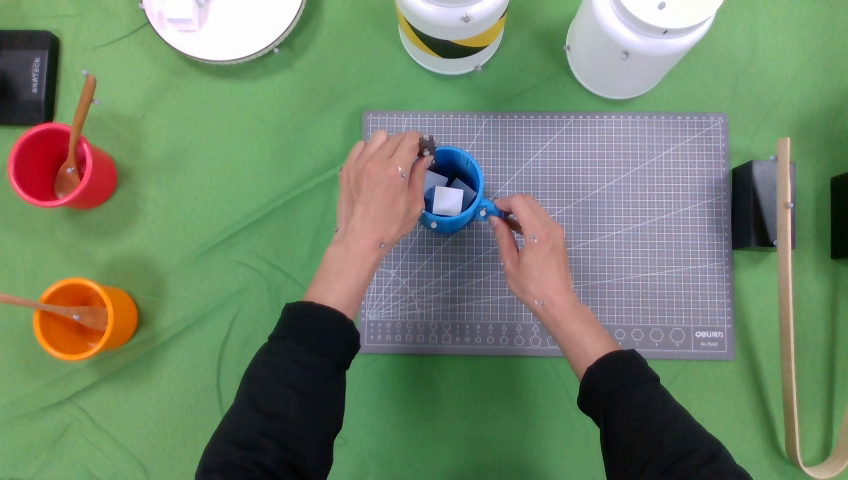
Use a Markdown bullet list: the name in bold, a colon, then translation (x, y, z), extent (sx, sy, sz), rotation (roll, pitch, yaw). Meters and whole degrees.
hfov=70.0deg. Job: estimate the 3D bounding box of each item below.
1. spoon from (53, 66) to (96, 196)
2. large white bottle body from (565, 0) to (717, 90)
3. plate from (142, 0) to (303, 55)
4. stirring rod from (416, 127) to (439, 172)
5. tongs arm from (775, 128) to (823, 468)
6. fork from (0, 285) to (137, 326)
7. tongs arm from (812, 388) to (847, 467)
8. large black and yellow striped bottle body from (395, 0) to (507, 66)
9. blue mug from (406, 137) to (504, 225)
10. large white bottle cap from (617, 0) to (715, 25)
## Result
- **spoon**: translation (-0.394, -0.118, 0.685), extent (0.041, 0.021, 0.194), rotation (47, 131, 7)
- **large white bottle body**: translation (0.236, -0.255, 0.665), extent (0.130, 0.185, 0.130), rotation (0, 85, 1)
- **plate**: translation (-0.245, -0.327, 0.752), extent (0.208, 0.039, 0.207), rotation (0, 86, 1)
- **stirring rod**: translation (0.005, -0.093, 0.645), extent (0.014, 0.176, 0.006), rotation (-22, 84, 2)
- **tongs arm**: translation (0.420, 0.069, 0.677), extent (0.051, 0.026, 0.385), rotation (-4, 97, -2)
- **fork**: translation (-0.426, 0.064, 0.669), extent (0.209, 0.018, 0.028), rotation (23, 84, -40)
- **tongs arm**: translation (0.502, 0.071, 0.677), extent (0.028, 0.027, 0.388), rotation (9, 97, -6)
- **large black and yellow striped bottle body**: translation (0.030, -0.287, 0.671), extent (0.131, 0.184, 0.130), rotation (0, 85, 1)
- **blue mug**: translation (0.038, -0.057, 0.690), extent (0.116, 0.106, 0.082), rotation (25, 86, 3)
- **large white bottle cap**: translation (0.234, -0.264, 0.581), extent (0.115, 0.018, 0.114), rotation (0, 85, 0)
